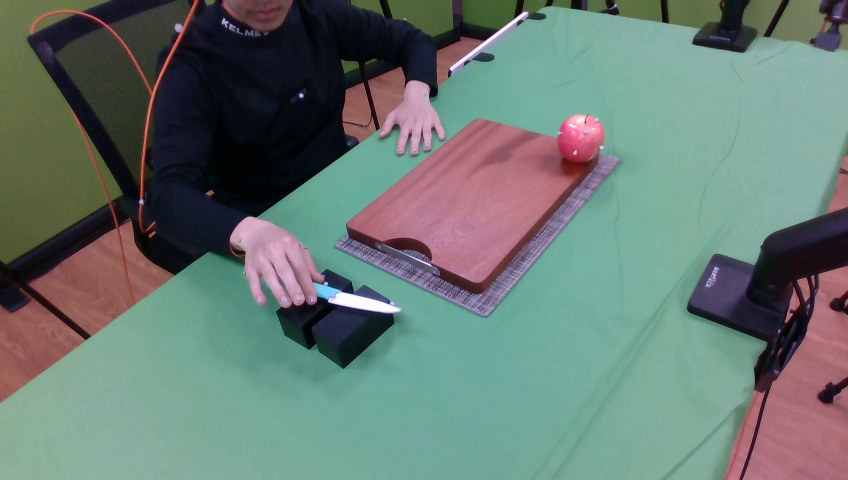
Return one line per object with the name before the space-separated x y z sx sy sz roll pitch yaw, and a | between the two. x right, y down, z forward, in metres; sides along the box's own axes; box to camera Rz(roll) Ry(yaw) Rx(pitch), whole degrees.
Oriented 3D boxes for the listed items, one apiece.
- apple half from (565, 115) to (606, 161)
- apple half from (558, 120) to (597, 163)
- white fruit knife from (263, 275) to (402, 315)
apple half | 0.284 -0.181 1.056 0.053 0.075 0.080 -32 44 -31
apple half | 0.255 -0.163 1.037 0.033 0.081 0.080 -34 47 -31
white fruit knife | -0.126 0.077 0.829 0.206 0.016 0.027 11 47 17
